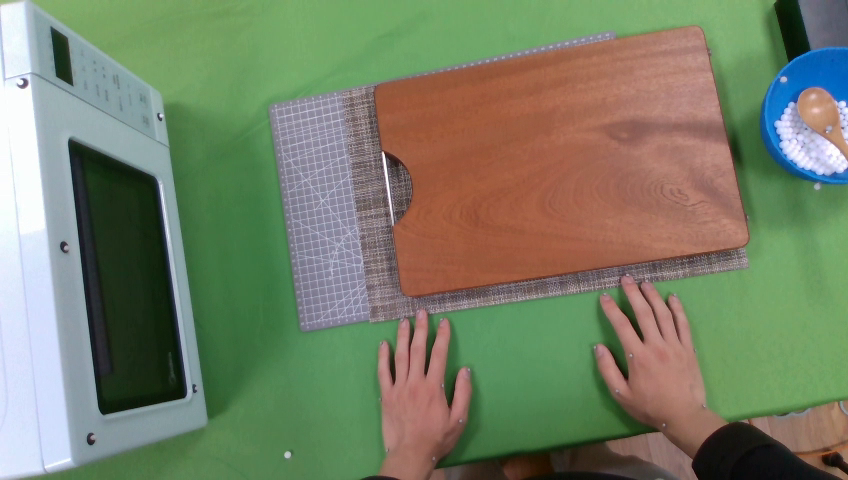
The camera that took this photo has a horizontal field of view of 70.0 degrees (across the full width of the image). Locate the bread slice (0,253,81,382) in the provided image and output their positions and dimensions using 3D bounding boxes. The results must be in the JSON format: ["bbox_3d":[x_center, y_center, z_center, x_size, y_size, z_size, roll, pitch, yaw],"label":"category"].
[{"bbox_3d":[-0.430,0.092,0.641,0.134,0.018,0.106,-30,84,16],"label":"bread slice"}]

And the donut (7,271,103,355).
[{"bbox_3d":[-0.420,0.082,0.690,0.099,0.048,0.099,-1,100,-7],"label":"donut"}]

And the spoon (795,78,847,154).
[{"bbox_3d":[0.445,-0.095,0.637,0.041,0.022,0.192,-11,59,3],"label":"spoon"}]

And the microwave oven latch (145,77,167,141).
[{"bbox_3d":[-0.352,-0.165,0.773,0.030,0.029,0.079,-13,83,5],"label":"microwave oven latch"}]

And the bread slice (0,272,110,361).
[{"bbox_3d":[-0.449,0.096,0.725,0.132,0.019,0.105,-5,91,-6],"label":"bread slice"}]

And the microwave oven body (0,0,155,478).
[{"bbox_3d":[-0.473,0.026,0.667,0.326,0.261,0.440,-13,82,5],"label":"microwave oven body"}]

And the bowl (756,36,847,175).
[{"bbox_3d":[0.439,-0.138,0.674,0.151,0.077,0.151,-1,83,7],"label":"bowl"}]

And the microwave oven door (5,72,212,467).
[{"bbox_3d":[-0.323,0.034,0.644,0.039,0.245,0.354,-13,82,6],"label":"microwave oven door"}]
